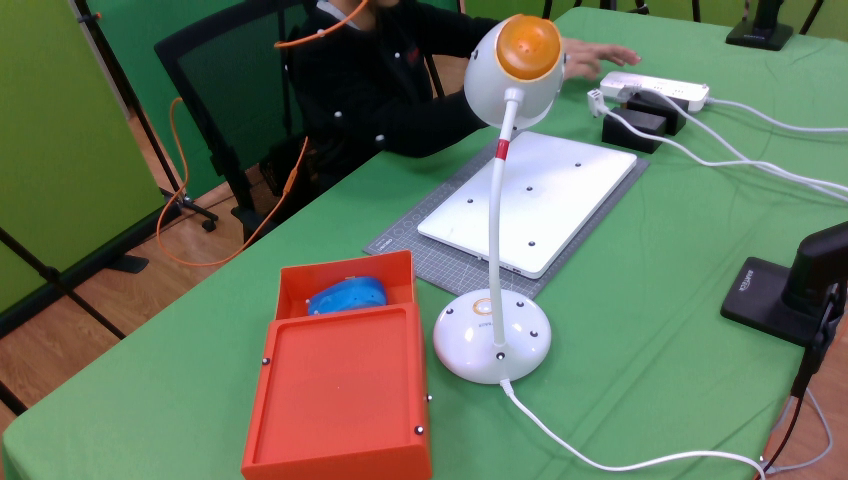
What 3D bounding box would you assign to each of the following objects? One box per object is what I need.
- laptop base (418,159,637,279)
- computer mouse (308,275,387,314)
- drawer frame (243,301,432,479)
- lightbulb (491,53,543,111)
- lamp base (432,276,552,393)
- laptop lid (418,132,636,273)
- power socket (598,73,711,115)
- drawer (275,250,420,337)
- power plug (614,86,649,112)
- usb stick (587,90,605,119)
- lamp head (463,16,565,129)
[{"bbox_3d":[0.185,-0.074,1.042,0.233,0.023,0.355,19,48,35],"label":"laptop base"},{"bbox_3d":[-0.112,0.089,0.881,0.117,0.041,0.062,-16,43,-1],"label":"computer mouse"},{"bbox_3d":[-0.096,0.185,0.738,0.202,0.083,0.212,-8,40,1],"label":"drawer frame"},{"bbox_3d":[0.107,-0.182,0.679,0.059,0.059,0.108,-9,-3,1],"label":"lightbulb"},{"bbox_3d":[0.085,0.075,0.756,0.161,0.181,0.178,-14,44,-5],"label":"lamp base"},{"bbox_3d":[0.182,-0.084,1.036,0.239,0.013,0.358,22,49,35],"label":"laptop lid"},{"bbox_3d":[0.469,-0.304,1.249,0.225,0.033,0.072,21,49,31],"label":"power socket"},{"bbox_3d":[-0.104,0.117,0.825,0.194,0.073,0.210,-8,40,1],"label":"drawer"},{"bbox_3d":[0.406,-0.275,1.192,0.035,0.053,0.072,-15,23,-16],"label":"power plug"},{"bbox_3d":[0.334,-0.258,1.171,0.021,0.059,0.027,-29,45,-4],"label":"usb stick"},{"bbox_3d":[0.101,-0.184,0.655,0.112,0.112,0.123,-9,1,0],"label":"lamp head"}]
